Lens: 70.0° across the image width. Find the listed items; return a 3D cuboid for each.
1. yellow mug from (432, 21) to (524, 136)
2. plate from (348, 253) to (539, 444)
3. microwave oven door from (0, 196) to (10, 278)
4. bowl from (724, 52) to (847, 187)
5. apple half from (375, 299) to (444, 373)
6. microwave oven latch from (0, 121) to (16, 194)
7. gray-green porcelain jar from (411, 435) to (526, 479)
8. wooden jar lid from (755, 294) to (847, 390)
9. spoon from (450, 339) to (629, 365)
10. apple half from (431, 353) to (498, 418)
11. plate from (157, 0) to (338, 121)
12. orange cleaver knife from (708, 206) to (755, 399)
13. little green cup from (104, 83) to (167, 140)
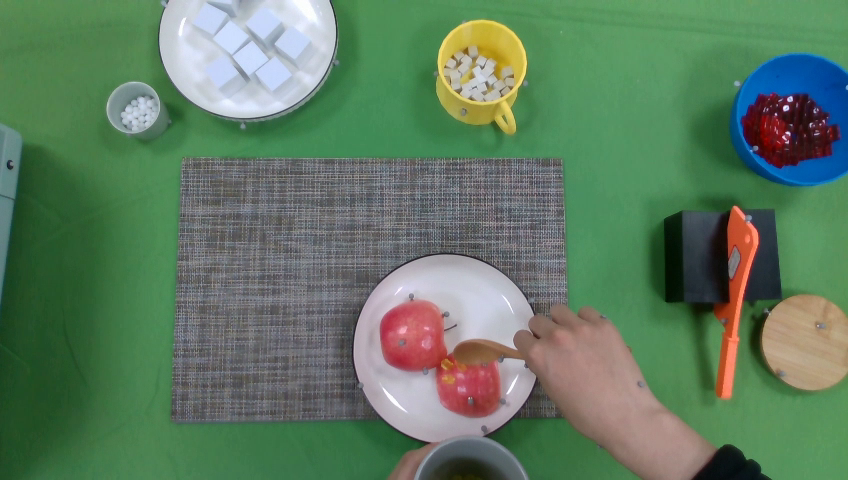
[{"bbox_3d":[0.068,-0.179,0.702,0.100,0.064,0.130,-29,85,-5],"label":"yellow mug"},{"bbox_3d":[0.021,0.119,0.674,0.209,0.038,0.208,0,83,-1],"label":"plate"},{"bbox_3d":[-0.491,0.111,0.548,0.039,0.244,0.354,3,82,0],"label":"microwave oven door"},{"bbox_3d":[0.408,-0.127,0.695,0.151,0.077,0.151,0,83,-1],"label":"bowl"},{"bbox_3d":[-0.016,0.105,0.659,0.074,0.053,0.080,-3,83,1],"label":"apple half"},{"bbox_3d":[-0.480,-0.093,0.676,0.030,0.029,0.079,6,83,-1],"label":"microwave oven latch"},{"bbox_3d":[0.037,0.254,0.561,0.106,0.127,0.105,1,52,-1],"label":"gray-green porcelain jar"},{"bbox_3d":[0.431,0.116,0.694,0.108,0.021,0.108,0,83,1],"label":"wooden jar lid"},{"bbox_3d":[0.102,0.109,0.576,0.042,0.193,0.021,49,53,-30],"label":"spoon"},{"bbox_3d":[0.045,0.158,0.663,0.081,0.033,0.081,0,78,-1],"label":"apple half"},{"bbox_3d":[-0.205,-0.238,0.719,0.208,0.039,0.207,0,83,-1],"label":"plate"},{"bbox_3d":[0.331,0.070,0.667,0.012,0.077,0.212,1,107,2],"label":"orange cleaver knife"},{"bbox_3d":[-0.331,-0.147,0.703,0.061,0.039,0.061,0,84,-1],"label":"little green cup"}]
